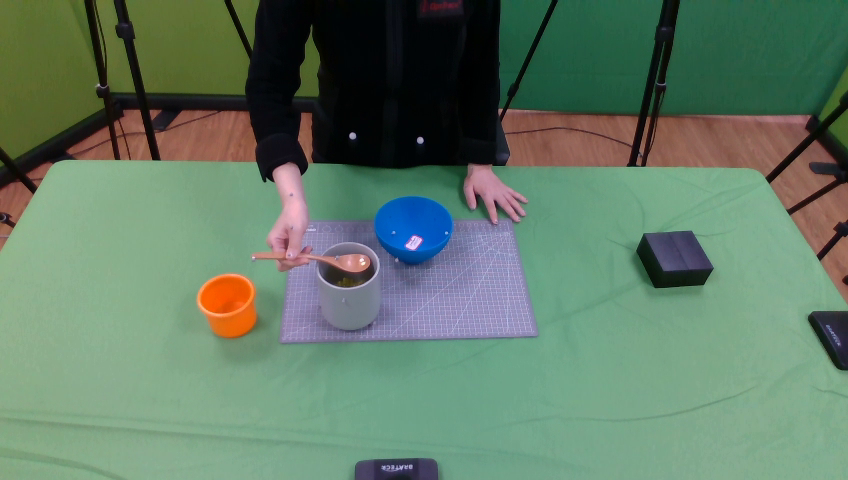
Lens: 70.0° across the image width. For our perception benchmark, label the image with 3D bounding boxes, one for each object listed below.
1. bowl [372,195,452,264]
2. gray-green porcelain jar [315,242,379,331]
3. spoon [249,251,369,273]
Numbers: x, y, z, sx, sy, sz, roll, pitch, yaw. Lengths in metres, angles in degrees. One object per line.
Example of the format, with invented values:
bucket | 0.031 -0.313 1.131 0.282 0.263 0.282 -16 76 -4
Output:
bowl | -0.023 -0.008 1.161 0.151 0.077 0.150 2 46 -2
gray-green porcelain jar | -0.129 0.084 1.031 0.106 0.127 0.105 2 46 -2
spoon | -0.182 0.029 0.975 0.194 0.022 0.041 8 46 -28
